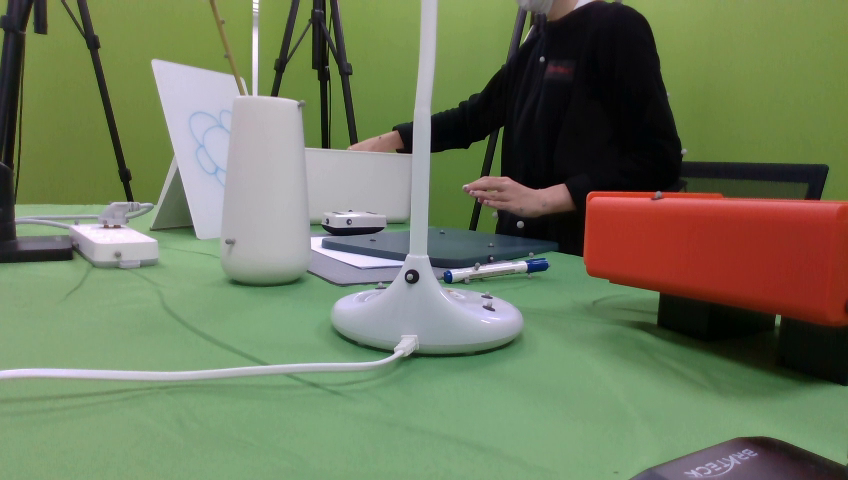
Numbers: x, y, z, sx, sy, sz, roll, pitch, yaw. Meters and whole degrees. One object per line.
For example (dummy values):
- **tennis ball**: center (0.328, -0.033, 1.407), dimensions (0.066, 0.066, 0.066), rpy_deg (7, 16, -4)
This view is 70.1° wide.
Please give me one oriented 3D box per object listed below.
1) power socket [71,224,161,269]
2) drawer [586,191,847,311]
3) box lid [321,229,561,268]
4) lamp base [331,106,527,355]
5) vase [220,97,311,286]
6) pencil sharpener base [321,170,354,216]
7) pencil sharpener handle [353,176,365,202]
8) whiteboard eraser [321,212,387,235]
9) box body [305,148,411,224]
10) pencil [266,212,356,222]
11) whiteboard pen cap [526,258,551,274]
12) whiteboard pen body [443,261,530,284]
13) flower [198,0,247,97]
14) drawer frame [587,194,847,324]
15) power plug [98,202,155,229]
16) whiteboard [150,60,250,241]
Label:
- **power socket**: center (-0.408, 0.004, 0.793), dimensions (0.072, 0.032, 0.225), rpy_deg (-2, 8, -38)
- **drawer**: center (0.281, 0.001, 0.513), dimensions (0.195, 0.073, 0.210), rpy_deg (-1, 8, -29)
- **box lid**: center (0.040, 0.008, 0.996), dimensions (0.262, 0.015, 0.373), rpy_deg (7, 8, 34)
- **lamp base**: center (0.006, -0.012, 0.478), dimensions (0.161, 0.180, 0.179), rpy_deg (2, 10, 2)
- **vase**: center (-0.172, -0.052, 0.662), dimensions (0.098, 0.200, 0.098), rpy_deg (3, 8, 0)
- **pencil sharpener base**: center (-0.206, -0.112, 1.436), dimensions (0.077, 0.107, 0.061), rpy_deg (1, 6, -10)
- **pencil sharpener handle**: center (-0.155, -0.123, 1.447), dimensions (0.031, 0.068, 0.036), rpy_deg (1, 18, -10)
- **whiteboard eraser**: center (-0.128, -0.031, 1.108), dimensions (0.113, 0.042, 0.055), rpy_deg (-3, 7, -38)
- **box body**: center (-0.230, -0.126, 1.371), dimensions (0.366, 0.160, 0.253), rpy_deg (-2, 8, -33)
- **pencil**: center (-0.245, -0.049, 1.319), dimensions (0.195, 0.012, 0.012), rpy_deg (3, 7, -13)
- **whiteboard pen cap**: center (0.141, 0.033, 0.759), dimensions (0.033, 0.018, 0.018), rpy_deg (-7, 11, -26)
- **whiteboard pen body**: center (0.087, 0.037, 0.734), dimensions (0.141, 0.017, 0.017), rpy_deg (-6, 10, -27)
- **flower**: center (-0.187, -0.133, 0.648), dimensions (0.038, 0.362, 0.044), rpy_deg (-1, 21, 43)
- **drawer frame**: center (0.285, 0.004, 0.509), dimensions (0.203, 0.082, 0.212), rpy_deg (-1, 6, -29)
- **power plug**: center (-0.416, -0.027, 0.848), dimensions (0.073, 0.052, 0.035), rpy_deg (0, 8, -28)
- **whiteboard**: center (-0.408, -0.139, 1.093), dimensions (0.143, 0.305, 0.218), rpy_deg (-15, -1, 26)
